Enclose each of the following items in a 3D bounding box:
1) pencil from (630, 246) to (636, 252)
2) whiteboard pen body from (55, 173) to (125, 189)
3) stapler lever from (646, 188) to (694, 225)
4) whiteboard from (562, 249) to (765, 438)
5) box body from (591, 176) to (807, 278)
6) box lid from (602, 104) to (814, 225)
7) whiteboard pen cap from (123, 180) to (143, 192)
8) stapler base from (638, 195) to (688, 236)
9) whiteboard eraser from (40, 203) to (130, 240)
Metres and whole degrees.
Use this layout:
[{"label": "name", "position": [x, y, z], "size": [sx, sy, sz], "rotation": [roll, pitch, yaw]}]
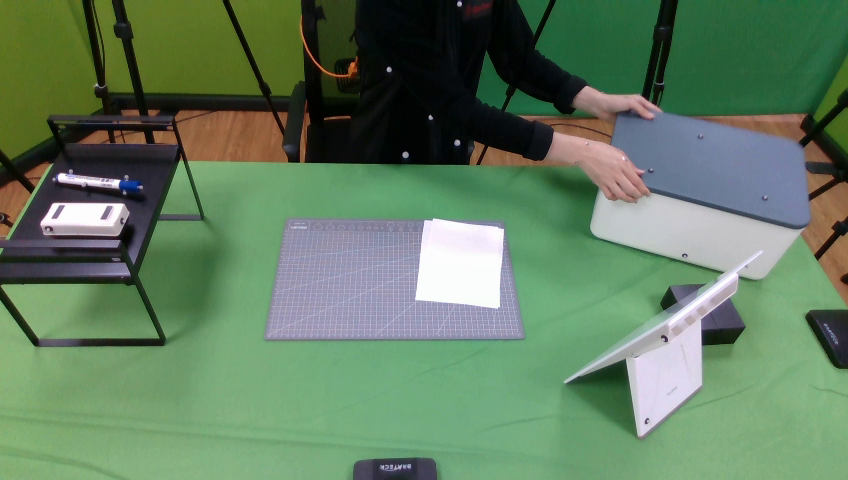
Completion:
[{"label": "pencil", "position": [0.431, -0.060, 1.284], "size": [0.012, 0.012, 0.193], "rotation": [4, 59, -1]}, {"label": "whiteboard pen body", "position": [-0.539, -0.095, 0.998], "size": [0.141, 0.017, 0.017], "rotation": [6, 46, 6]}, {"label": "stapler lever", "position": [0.514, -0.078, 1.265], "size": [0.027, 0.040, 0.117], "rotation": [-2, 42, -29]}, {"label": "whiteboard", "position": [0.386, 0.175, 0.905], "size": [0.217, 0.306, 0.143], "rotation": [-26, 72, -26]}, {"label": "box body", "position": [0.540, -0.092, 1.230], "size": [0.363, 0.161, 0.253], "rotation": [16, 47, 11]}, {"label": "box lid", "position": [0.545, -0.155, 1.165], "size": [0.371, 0.015, 0.262], "rotation": [14, 49, 13]}, {"label": "whiteboard pen cap", "position": [-0.479, -0.089, 0.993], "size": [0.033, 0.018, 0.018], "rotation": [7, 46, 14]}, {"label": "stapler base", "position": [0.509, -0.059, 1.279], "size": [0.041, 0.024, 0.129], "rotation": [-2, 40, -29]}, {"label": "whiteboard eraser", "position": [-0.513, -0.028, 0.922], "size": [0.113, 0.042, 0.055], "rotation": [1, 48, -3]}]
